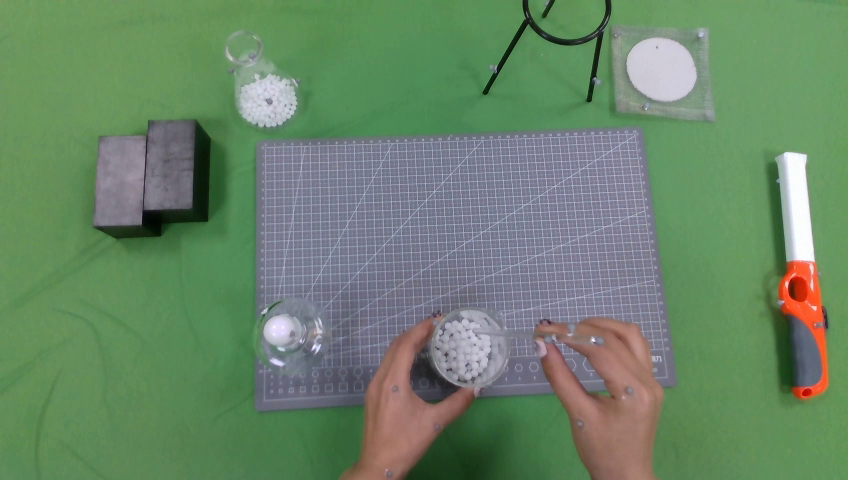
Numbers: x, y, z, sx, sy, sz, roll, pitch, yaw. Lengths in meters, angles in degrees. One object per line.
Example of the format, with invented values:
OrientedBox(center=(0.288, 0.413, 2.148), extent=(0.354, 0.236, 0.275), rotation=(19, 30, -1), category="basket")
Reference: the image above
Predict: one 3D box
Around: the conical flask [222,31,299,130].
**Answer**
OrientedBox(center=(-0.181, -0.174, 0.650), extent=(0.075, 0.122, 0.075), rotation=(0, 77, -2), category="conical flask")

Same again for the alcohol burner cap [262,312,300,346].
OrientedBox(center=(-0.133, 0.082, 0.561), extent=(0.034, 0.048, 0.033), rotation=(1, 81, -5), category="alcohol burner cap")

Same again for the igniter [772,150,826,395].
OrientedBox(center=(0.418, 0.032, 0.678), extent=(0.057, 0.025, 0.275), rotation=(5, 77, -12), category="igniter")

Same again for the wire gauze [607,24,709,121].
OrientedBox(center=(0.285, -0.206, 0.735), extent=(0.125, 0.011, 0.121), rotation=(3, 78, -3), category="wire gauze")

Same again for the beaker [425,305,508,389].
OrientedBox(center=(0.040, 0.104, 0.603), extent=(0.074, 0.100, 0.084), rotation=(41, 78, 4), category="beaker")

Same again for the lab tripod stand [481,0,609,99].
OrientedBox(center=(0.136, -0.221, 0.668), extent=(0.148, 0.132, 0.148), rotation=(0, 79, -2), category="lab tripod stand")

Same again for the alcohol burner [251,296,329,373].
OrientedBox(center=(-0.135, 0.091, 0.596), extent=(0.078, 0.119, 0.077), rotation=(0, 77, 0), category="alcohol burner")

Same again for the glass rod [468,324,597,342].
OrientedBox(center=(0.079, 0.074, 0.496), extent=(0.008, 0.199, 0.008), rotation=(2, 84, -20), category="glass rod")
